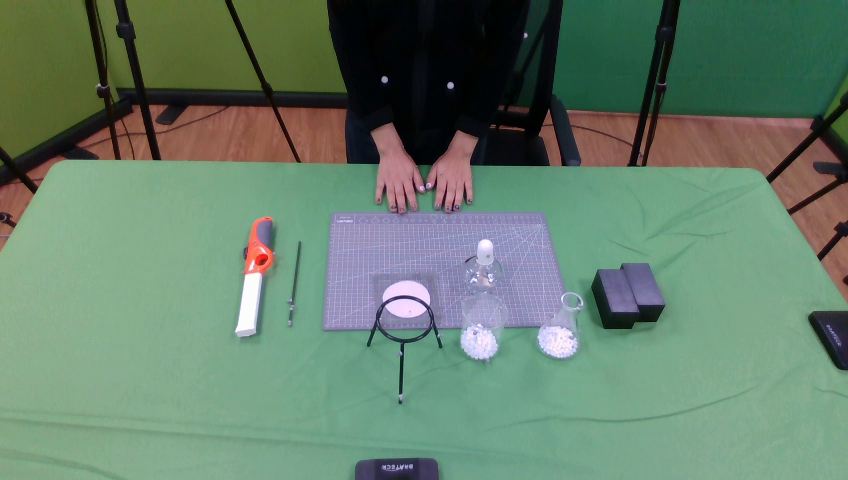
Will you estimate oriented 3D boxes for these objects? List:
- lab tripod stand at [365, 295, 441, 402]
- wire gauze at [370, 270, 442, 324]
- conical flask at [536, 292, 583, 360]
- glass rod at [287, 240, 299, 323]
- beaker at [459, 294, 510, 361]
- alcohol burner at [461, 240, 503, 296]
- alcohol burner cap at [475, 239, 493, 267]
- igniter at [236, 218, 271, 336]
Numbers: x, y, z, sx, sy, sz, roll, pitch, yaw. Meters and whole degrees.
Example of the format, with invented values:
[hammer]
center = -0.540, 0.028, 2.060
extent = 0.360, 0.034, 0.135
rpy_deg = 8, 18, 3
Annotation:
[lab tripod stand]
center = -0.031, 0.160, 0.966
extent = 0.148, 0.132, 0.147
rpy_deg = 3, 44, -2
[wire gauze]
center = -0.035, 0.104, 1.103
extent = 0.125, 0.011, 0.120
rpy_deg = -3, 46, -5
[conical flask]
center = 0.234, 0.139, 1.015
extent = 0.075, 0.122, 0.075
rpy_deg = 2, 46, -2
[glass rod]
center = -0.242, 0.072, 1.120
extent = 0.008, 0.008, 0.198
rpy_deg = -1, 47, -5
[beaker]
center = 0.094, 0.147, 1.012
extent = 0.083, 0.101, 0.074
rpy_deg = 26, 49, 21
[alcohol burner]
center = 0.106, 0.045, 1.098
extent = 0.078, 0.120, 0.077
rpy_deg = 1, 44, -1
[alcohol burner cap]
center = 0.107, 0.020, 1.071
extent = 0.034, 0.048, 0.033
rpy_deg = -2, 46, 2
[igniter]
center = -0.312, 0.058, 1.115
extent = 0.057, 0.025, 0.274
rpy_deg = -9, 46, 2
